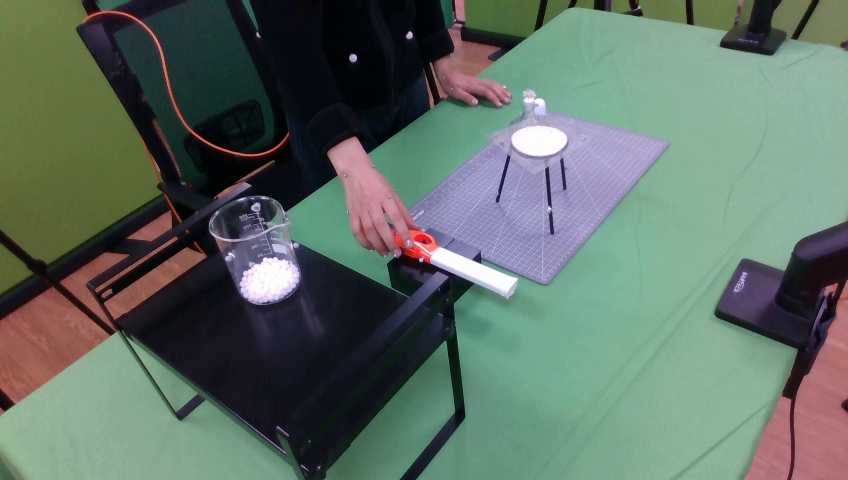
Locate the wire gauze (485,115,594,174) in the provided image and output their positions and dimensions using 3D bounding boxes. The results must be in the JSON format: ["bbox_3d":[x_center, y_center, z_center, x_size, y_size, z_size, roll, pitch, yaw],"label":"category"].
[{"bbox_3d":[0.177,-0.154,0.935,0.122,0.011,0.124,-26,45,-21],"label":"wire gauze"}]

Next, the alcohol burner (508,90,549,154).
[{"bbox_3d":[0.196,-0.223,1.134,0.078,0.119,0.077,-5,39,5],"label":"alcohol burner"}]

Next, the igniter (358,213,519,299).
[{"bbox_3d":[0.010,0.018,0.876,0.274,0.025,0.057,23,47,28],"label":"igniter"}]

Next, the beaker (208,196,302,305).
[{"bbox_3d":[-0.173,0.014,0.647,0.084,0.101,0.073,-1,41,8],"label":"beaker"}]

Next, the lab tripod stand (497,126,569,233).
[{"bbox_3d":[0.188,-0.104,0.978,0.148,0.132,0.147,-3,41,3],"label":"lab tripod stand"}]

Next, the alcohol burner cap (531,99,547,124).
[{"bbox_3d":[0.234,-0.264,1.231,0.034,0.048,0.033,-5,41,5],"label":"alcohol burner cap"}]
